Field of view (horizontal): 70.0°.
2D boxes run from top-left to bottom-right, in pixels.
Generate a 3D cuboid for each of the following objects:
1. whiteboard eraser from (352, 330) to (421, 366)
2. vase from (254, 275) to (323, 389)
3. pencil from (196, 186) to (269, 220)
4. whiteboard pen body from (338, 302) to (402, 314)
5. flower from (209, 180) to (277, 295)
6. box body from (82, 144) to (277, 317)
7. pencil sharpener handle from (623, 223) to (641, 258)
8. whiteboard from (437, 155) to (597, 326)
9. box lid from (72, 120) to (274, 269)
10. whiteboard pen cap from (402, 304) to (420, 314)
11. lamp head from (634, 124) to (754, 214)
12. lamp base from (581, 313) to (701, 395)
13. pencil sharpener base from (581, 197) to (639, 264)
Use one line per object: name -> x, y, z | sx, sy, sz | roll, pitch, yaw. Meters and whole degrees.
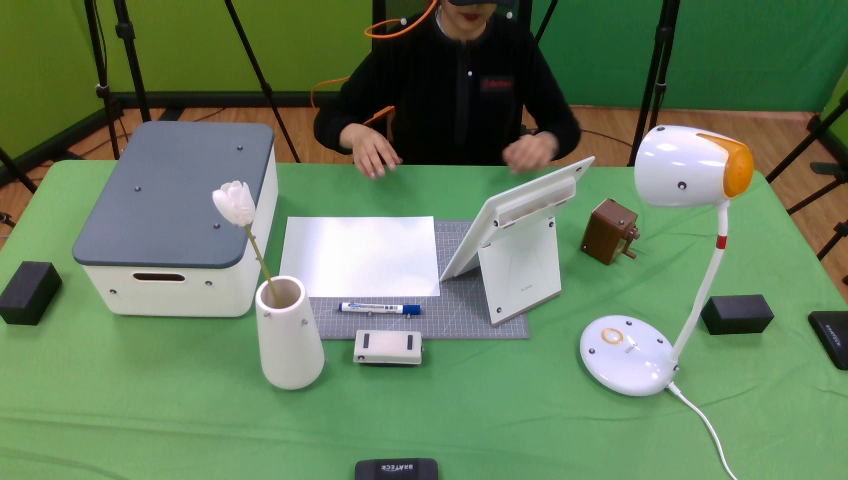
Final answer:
whiteboard eraser -> -0.061, 0.180, 1.005 | 0.113, 0.042, 0.055 | 3, 48, -3
vase -> -0.209, 0.143, 0.921 | 0.098, 0.201, 0.097 | 1, 46, -1
pencil -> -0.396, -0.078, 1.243 | 0.193, 0.012, 0.012 | 23, 49, 19
whiteboard pen body -> -0.083, 0.121, 1.074 | 0.141, 0.017, 0.017 | 3, 46, -2
flower -> -0.217, 0.075, 0.871 | 0.044, 0.363, 0.038 | -28, 36, -19
box body -> -0.421, -0.041, 1.108 | 0.254, 0.161, 0.361 | 2, 46, -3
pencil sharpener handle -> 0.399, 0.002, 1.146 | 0.030, 0.068, 0.036 | 35, 45, 26
whiteboard -> 0.180, 0.023, 1.029 | 0.217, 0.306, 0.143 | -22, 71, -23
box lid -> -0.417, -0.094, 1.056 | 0.263, 0.015, 0.369 | 1, 47, -3
whiteboard pen cap -> -0.024, 0.123, 1.076 | 0.033, 0.018, 0.018 | 1, 46, 1
lamp head -> 0.351, -0.089, 0.776 | 0.112, 0.113, 0.122 | -30, 30, -28
lamp base -> 0.361, 0.144, 0.972 | 0.178, 0.181, 0.160 | 34, 53, 23
pencil sharpener base -> 0.362, -0.016, 1.178 | 0.076, 0.107, 0.061 | 35, 53, 26
